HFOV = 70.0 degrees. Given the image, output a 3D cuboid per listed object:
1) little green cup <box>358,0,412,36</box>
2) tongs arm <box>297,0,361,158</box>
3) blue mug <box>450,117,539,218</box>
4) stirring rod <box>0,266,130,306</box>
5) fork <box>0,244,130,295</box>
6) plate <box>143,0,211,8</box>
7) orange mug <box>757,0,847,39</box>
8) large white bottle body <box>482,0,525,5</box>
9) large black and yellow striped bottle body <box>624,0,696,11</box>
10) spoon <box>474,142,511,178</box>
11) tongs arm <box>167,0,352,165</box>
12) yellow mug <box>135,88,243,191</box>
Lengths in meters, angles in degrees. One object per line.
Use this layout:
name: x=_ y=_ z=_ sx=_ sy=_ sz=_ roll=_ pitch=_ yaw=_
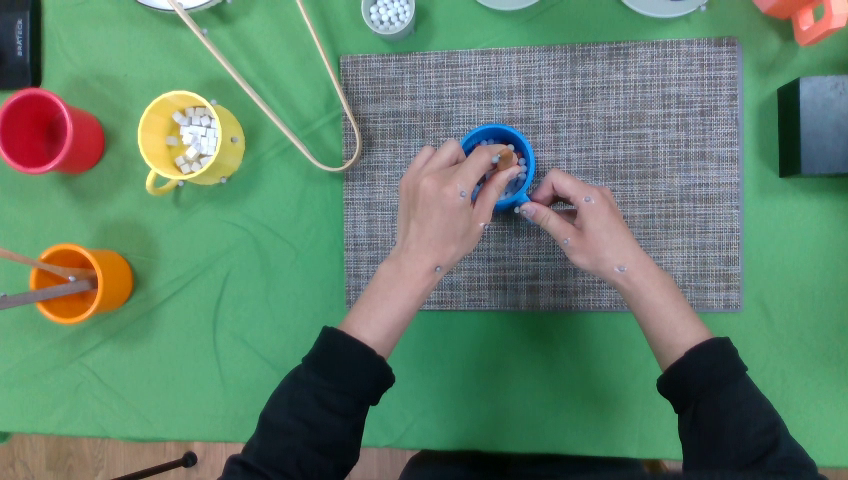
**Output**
little green cup: x=-0.042 y=-0.266 z=0.695 sx=0.061 sy=0.038 sz=0.061 roll=0 pitch=92 yaw=6
tongs arm: x=-0.155 y=-0.277 z=0.690 sx=0.028 sy=0.027 sz=0.388 roll=-25 pitch=95 yaw=-2
blue mug: x=0.083 y=-0.069 z=0.649 sx=0.082 sy=0.106 sz=0.116 roll=-41 pitch=87 yaw=5
stirring rod: x=-0.431 y=0.056 z=0.693 sx=0.177 sy=0.006 sz=0.014 roll=-15 pitch=84 yaw=-35
fork: x=-0.441 y=0.022 z=0.687 sx=0.209 sy=0.018 sz=0.028 roll=27 pitch=89 yaw=-38
plate: x=-0.288 y=-0.377 z=0.718 sx=0.207 sy=0.039 sz=0.207 roll=0 pitch=92 yaw=6
orange mug: x=0.395 y=-0.277 z=0.619 sx=0.083 sy=0.101 sz=0.126 roll=-10 pitch=86 yaw=7
large white bottle body: x=0.084 y=-0.333 z=0.606 sx=0.130 sy=0.185 sz=0.130 roll=0 pitch=91 yaw=6
large black and yellow striped bottle body: x=0.254 y=-0.318 z=0.590 sx=0.130 sy=0.184 sz=0.130 roll=0 pitch=90 yaw=7
spoon: x=0.070 y=-0.074 z=0.571 sx=0.041 sy=0.193 sz=0.021 roll=-20 pitch=93 yaw=3
tongs arm: x=-0.225 y=-0.230 z=0.695 sx=0.051 sy=0.026 sz=0.385 roll=-39 pitch=94 yaw=2
yellow mug: x=-0.282 y=-0.109 z=0.710 sx=0.100 sy=0.064 sz=0.131 roll=38 pitch=96 yaw=4
